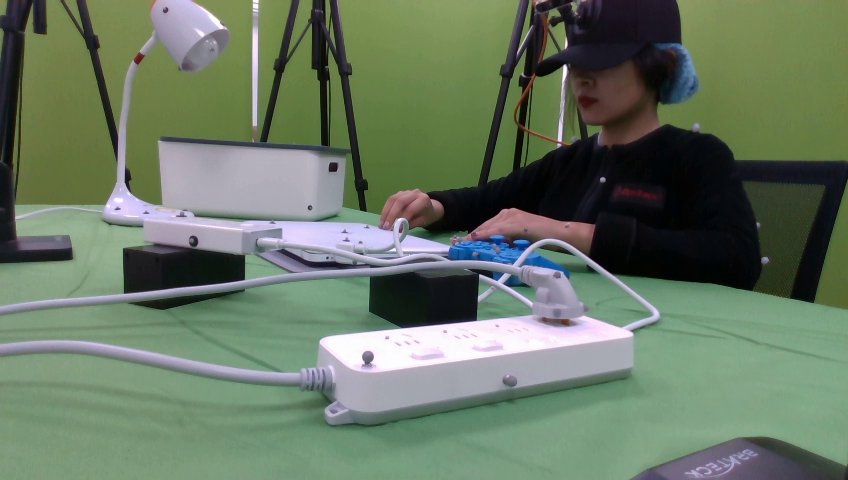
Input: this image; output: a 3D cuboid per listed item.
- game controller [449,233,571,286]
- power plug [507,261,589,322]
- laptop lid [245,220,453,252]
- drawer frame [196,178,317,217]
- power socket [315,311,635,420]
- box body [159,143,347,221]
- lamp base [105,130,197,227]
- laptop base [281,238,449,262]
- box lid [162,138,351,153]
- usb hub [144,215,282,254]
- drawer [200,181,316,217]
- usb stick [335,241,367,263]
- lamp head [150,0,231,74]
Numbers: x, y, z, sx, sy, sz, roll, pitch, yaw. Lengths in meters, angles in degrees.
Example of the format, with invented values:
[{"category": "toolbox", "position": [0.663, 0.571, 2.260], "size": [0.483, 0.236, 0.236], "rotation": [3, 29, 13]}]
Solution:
[{"category": "game controller", "position": [0.101, 0.021, 0.760], "size": [0.097, 0.051, 0.154], "rotation": [-7, 10, -30]}, {"category": "power plug", "position": [0.091, 0.043, 0.444], "size": [0.035, 0.052, 0.072], "rotation": [-1, 5, -18]}, {"category": "laptop lid", "position": [-0.124, -0.009, 0.945], "size": [0.243, 0.013, 0.355], "rotation": [1, 7, -29]}, {"category": "drawer frame", "position": [-0.376, -0.101, 1.393], "size": [0.213, 0.082, 0.202], "rotation": [1, 8, 6]}, {"category": "power socket", "position": [0.039, 0.072, 0.385], "size": [0.228, 0.032, 0.072], "rotation": [-2, 7, -29]}, {"category": "box body", "position": [-0.384, -0.137, 1.406], "size": [0.364, 0.160, 0.254], "rotation": [3, 8, 7]}, {"category": "lamp base", "position": [-0.532, -0.120, 1.153], "size": [0.179, 0.180, 0.161], "rotation": [1, 7, 8]}, {"category": "laptop base", "position": [-0.126, 0.003, 0.946], "size": [0.237, 0.023, 0.352], "rotation": [2, 6, -31]}, {"category": "box lid", "position": [-0.371, -0.215, 1.394], "size": [0.371, 0.015, 0.263], "rotation": [4, 8, 7]}, {"category": "usb hub", "position": [-0.200, -0.006, 0.573], "size": [0.125, 0.025, 0.050], "rotation": [6, 7, 23]}, {"category": "drawer", "position": [-0.372, -0.097, 1.393], "size": [0.212, 0.073, 0.194], "rotation": [1, 9, 6]}, {"category": "usb stick", "position": [-0.093, 0.015, 0.742], "size": [0.021, 0.027, 0.059], "rotation": [-4, 1, -34]}, {"category": "lamp head", "position": [-0.432, -0.374, 1.086], "size": [0.123, 0.112, 0.112], "rotation": [42, 8, -2]}]
